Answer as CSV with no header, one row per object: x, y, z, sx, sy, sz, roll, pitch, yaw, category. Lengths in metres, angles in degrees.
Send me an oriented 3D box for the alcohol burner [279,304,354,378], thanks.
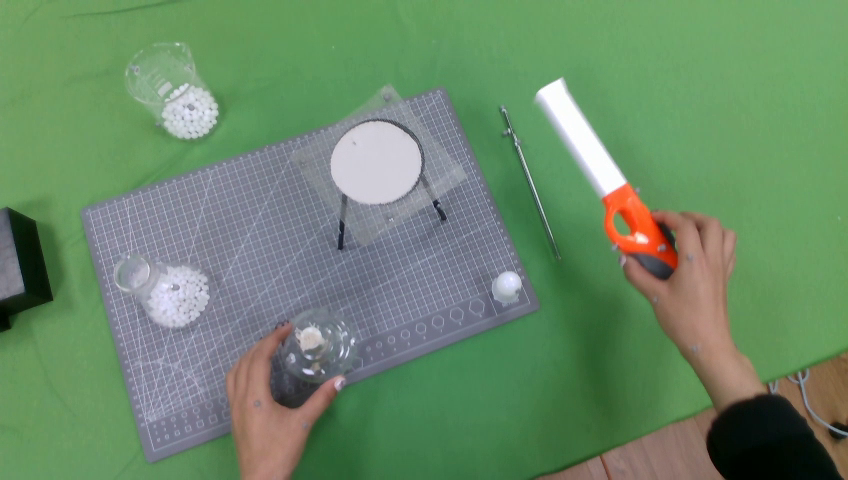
-0.110,0.100,0.610,0.078,0.119,0.077,1,74,-2,alcohol burner

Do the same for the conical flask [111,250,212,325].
-0.270,0.043,0.617,0.075,0.122,0.075,0,75,-1,conical flask

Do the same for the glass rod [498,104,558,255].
0.121,-0.074,0.716,0.008,0.008,0.198,-16,76,-6,glass rod

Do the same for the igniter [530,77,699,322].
0.193,-0.043,0.611,0.057,0.025,0.275,-30,84,-12,igniter

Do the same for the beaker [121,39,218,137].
-0.281,-0.169,0.685,0.074,0.100,0.083,27,76,6,beaker

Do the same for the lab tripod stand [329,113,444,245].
-0.049,-0.061,0.642,0.148,0.132,0.147,0,77,-1,lab tripod stand

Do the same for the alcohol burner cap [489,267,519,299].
0.090,0.045,0.665,0.034,0.048,0.033,1,76,-2,alcohol burner cap

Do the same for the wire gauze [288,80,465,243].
-0.046,-0.076,0.576,0.125,0.011,0.121,-37,80,-9,wire gauze
